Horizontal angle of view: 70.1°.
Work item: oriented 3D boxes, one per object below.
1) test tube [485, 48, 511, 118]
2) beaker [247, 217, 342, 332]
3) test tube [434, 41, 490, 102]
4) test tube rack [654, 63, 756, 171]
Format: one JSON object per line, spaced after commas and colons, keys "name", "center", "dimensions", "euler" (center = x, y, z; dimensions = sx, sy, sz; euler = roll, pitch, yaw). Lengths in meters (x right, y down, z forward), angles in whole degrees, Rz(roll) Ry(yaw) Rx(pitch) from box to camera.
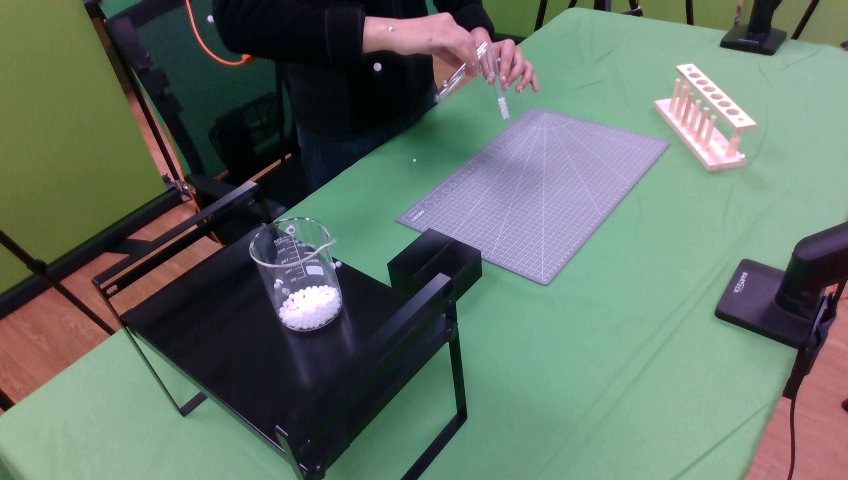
{"name": "test tube", "center": [0.128, -0.265, 1.039], "dimensions": [0.017, 0.151, 0.017], "euler": [-10, 53, 14]}
{"name": "beaker", "center": [-0.124, 0.037, 0.614], "dimensions": [0.084, 0.101, 0.073], "euler": [-7, 41, 0]}
{"name": "test tube", "center": [0.059, -0.262, 0.936], "dimensions": [0.017, 0.017, 0.150], "euler": [21, 59, 29]}
{"name": "test tube rack", "center": [0.510, -0.233, 1.120], "dimensions": [0.067, 0.085, 0.241], "euler": [-8, 41, -1]}
